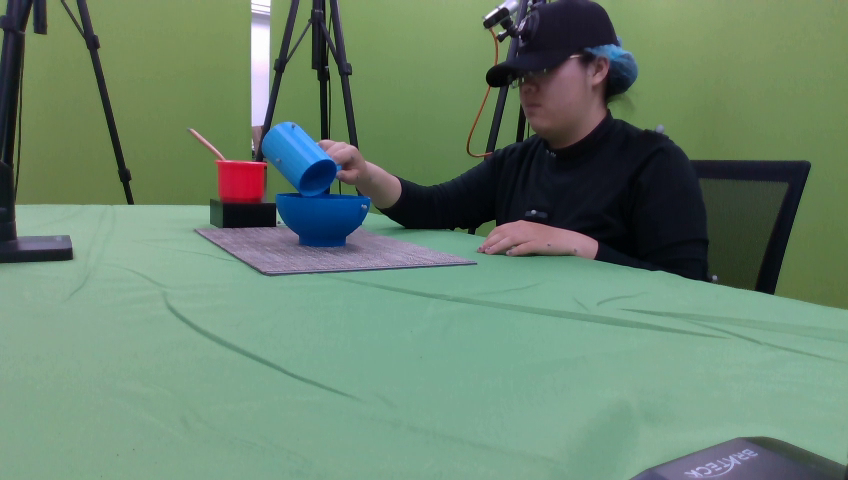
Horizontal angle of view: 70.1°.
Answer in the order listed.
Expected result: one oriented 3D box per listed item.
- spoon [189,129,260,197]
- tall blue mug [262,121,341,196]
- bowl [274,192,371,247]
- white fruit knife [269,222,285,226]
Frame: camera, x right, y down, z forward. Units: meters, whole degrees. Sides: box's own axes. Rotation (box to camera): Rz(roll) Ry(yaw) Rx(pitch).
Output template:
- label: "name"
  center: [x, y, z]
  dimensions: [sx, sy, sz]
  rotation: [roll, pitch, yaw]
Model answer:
- label: "spoon"
  center: [-0.388, -0.150, 1.174]
  dimensions: [0.193, 0.021, 0.042]
  rotation: [48, 20, 7]
- label: "tall blue mug"
  center: [-0.193, -0.140, 1.001]
  dimensions: [0.107, 0.078, 0.107]
  rotation: [-31, 61, -28]
- label: "bowl"
  center: [-0.161, -0.032, 0.958]
  dimensions: [0.151, 0.077, 0.151]
  rotation: [3, 7, 0]
- label: "white fruit knife"
  center: [-0.222, -0.037, 1.261]
  dimensions: [0.208, 0.016, 0.027]
  rotation: [-4, -17, -32]
